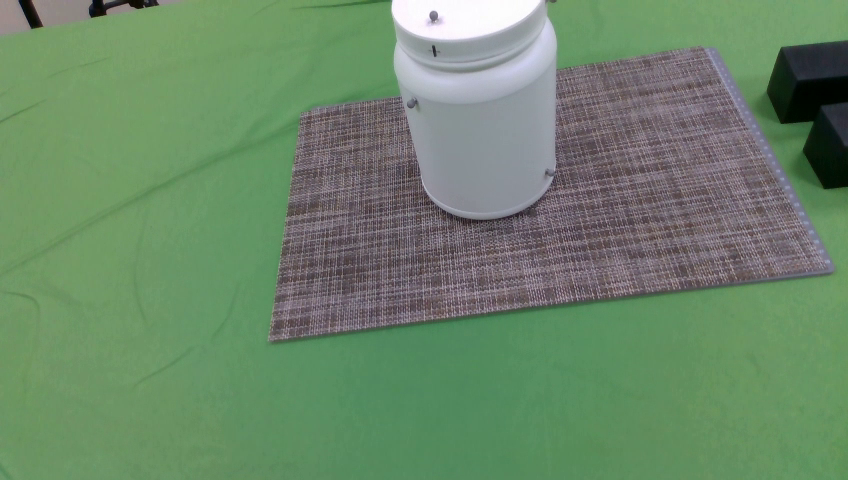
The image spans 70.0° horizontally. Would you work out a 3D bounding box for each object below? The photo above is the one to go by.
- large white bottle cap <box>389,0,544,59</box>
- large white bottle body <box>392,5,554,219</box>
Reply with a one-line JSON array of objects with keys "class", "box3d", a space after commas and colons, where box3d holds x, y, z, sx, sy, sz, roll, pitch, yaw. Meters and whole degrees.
[{"class": "large white bottle cap", "box3d": [0.031, -0.175, 0.451, 0.115, 0.018, 0.113, -5, 51, 7]}, {"class": "large white bottle body", "box3d": [0.045, -0.122, 0.516, 0.130, 0.186, 0.129, -6, 51, 7]}]
